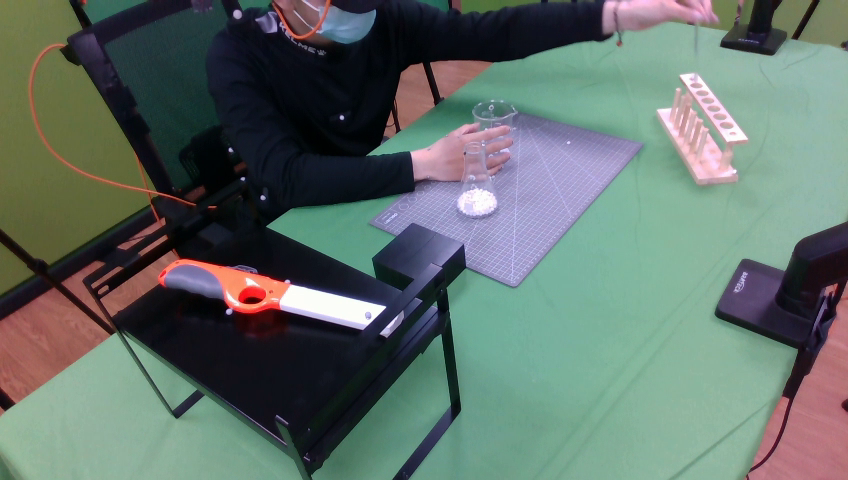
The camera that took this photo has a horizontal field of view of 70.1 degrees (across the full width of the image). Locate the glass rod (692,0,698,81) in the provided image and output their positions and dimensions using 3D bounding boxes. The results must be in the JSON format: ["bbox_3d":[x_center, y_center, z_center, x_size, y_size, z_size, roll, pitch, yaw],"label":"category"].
[{"bbox_3d":[0.457,-0.363,1.019,0.008,0.201,0.008,-12,32,8],"label":"glass rod"}]

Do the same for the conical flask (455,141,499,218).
[{"bbox_3d":[0.085,-0.103,0.999,0.075,0.122,0.075,-4,40,4],"label":"conical flask"}]

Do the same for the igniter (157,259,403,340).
[{"bbox_3d":[-0.157,0.059,0.637,0.275,0.025,0.057,11,43,14],"label":"igniter"}]

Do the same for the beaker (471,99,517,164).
[{"bbox_3d":[0.131,-0.199,1.124,0.084,0.101,0.073,1,42,8],"label":"beaker"}]

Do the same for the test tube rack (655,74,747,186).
[{"bbox_3d":[0.491,-0.205,1.092,0.067,0.085,0.241,-5,40,3],"label":"test tube rack"}]
